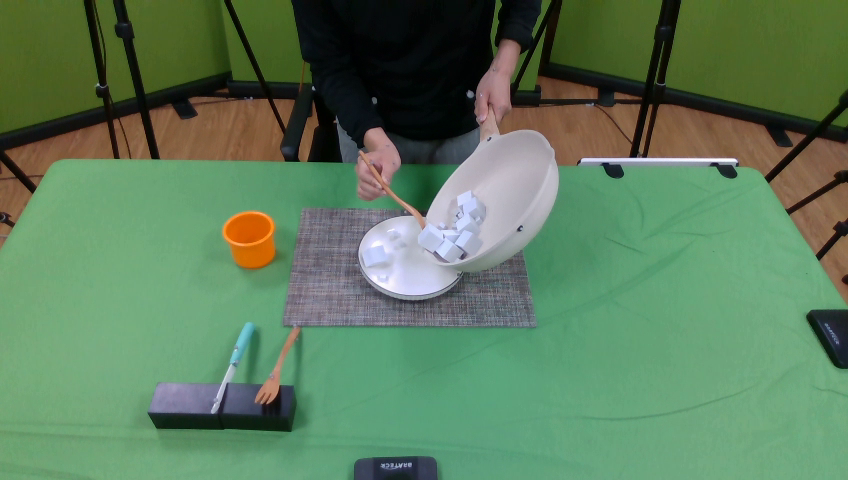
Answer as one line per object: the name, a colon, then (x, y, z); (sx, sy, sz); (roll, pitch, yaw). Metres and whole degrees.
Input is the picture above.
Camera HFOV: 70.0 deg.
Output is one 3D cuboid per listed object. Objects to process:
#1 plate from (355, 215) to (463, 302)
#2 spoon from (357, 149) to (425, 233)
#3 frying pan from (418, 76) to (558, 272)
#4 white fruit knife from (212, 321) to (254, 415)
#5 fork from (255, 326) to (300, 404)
plate: (-0.025, 0.038, 1.144); (0.208, 0.039, 0.206); (3, 46, -3)
spoon: (-0.058, -0.087, 1.097); (0.021, 0.194, 0.041); (-41, 15, 9)
frying pan: (0.122, -0.147, 1.128); (0.103, 0.307, 0.485); (33, 45, -35)
white fruit knife: (-0.298, 0.193, 0.947); (0.016, 0.027, 0.206); (1, 31, -1)
fork: (-0.226, 0.192, 0.955); (0.028, 0.019, 0.206); (-1, 27, 5)
